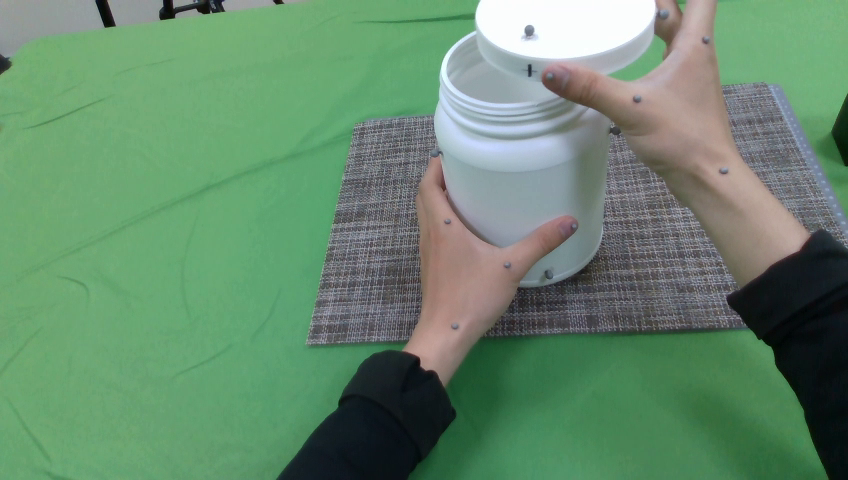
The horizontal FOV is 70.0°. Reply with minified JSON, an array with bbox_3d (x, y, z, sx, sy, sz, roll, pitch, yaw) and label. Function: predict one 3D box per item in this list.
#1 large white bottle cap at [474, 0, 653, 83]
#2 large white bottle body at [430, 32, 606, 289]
[{"bbox_3d":[0.090,-0.144,0.399,0.115,0.018,0.113,-5,50,6],"label":"large white bottle cap"},{"bbox_3d":[0.077,-0.063,0.483,0.130,0.186,0.129,-7,47,8],"label":"large white bottle body"}]
